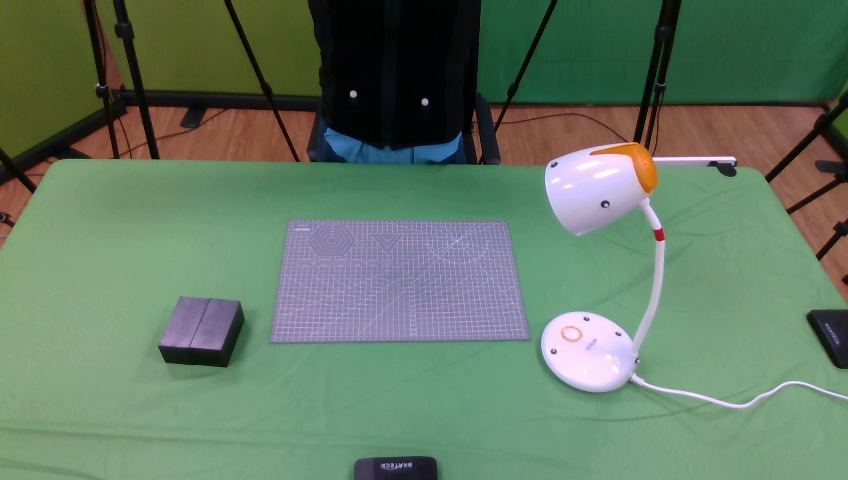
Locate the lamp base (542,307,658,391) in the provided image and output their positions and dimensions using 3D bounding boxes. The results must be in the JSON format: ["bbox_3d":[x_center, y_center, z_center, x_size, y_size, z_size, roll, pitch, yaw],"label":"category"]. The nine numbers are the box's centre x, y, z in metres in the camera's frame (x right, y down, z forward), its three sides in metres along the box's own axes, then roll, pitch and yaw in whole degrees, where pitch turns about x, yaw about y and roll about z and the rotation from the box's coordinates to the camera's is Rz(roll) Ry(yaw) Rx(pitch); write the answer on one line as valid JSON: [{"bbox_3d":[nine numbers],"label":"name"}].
[{"bbox_3d":[0.296,0.138,0.975,0.178,0.181,0.160,28,51,18],"label":"lamp base"}]

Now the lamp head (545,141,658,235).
[{"bbox_3d":[0.237,-0.072,0.783,0.123,0.113,0.112,-16,33,37],"label":"lamp head"}]
